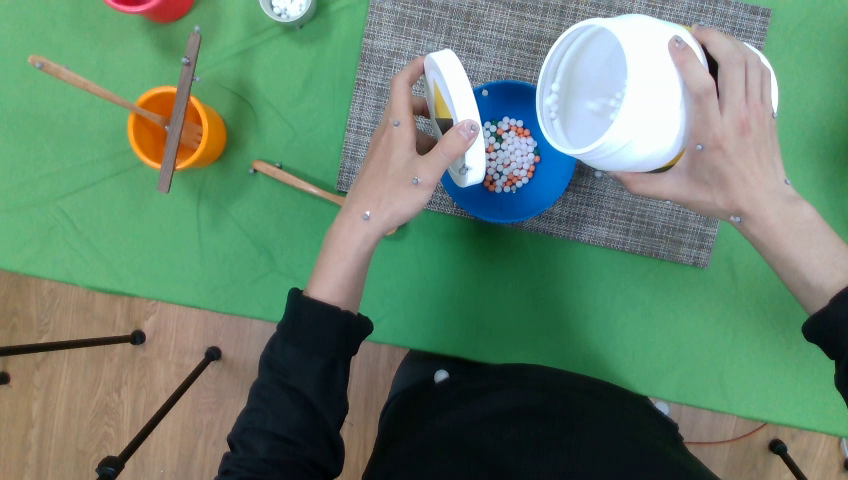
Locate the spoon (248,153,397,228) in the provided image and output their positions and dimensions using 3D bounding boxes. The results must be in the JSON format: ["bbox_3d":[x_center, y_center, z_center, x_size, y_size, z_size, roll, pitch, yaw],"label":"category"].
[{"bbox_3d":[-0.121,-0.064,0.720,0.194,0.021,0.042,23,110,0],"label":"spoon"}]

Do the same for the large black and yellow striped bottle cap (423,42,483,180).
[{"bbox_3d":[0.023,-0.108,0.514,0.019,0.114,0.115,-16,94,-8],"label":"large black and yellow striped bottle cap"}]

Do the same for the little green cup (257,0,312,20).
[{"bbox_3d":[-0.157,-0.282,0.690,0.061,0.038,0.061,0,96,4],"label":"little green cup"}]

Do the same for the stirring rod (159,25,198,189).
[{"bbox_3d":[-0.265,-0.142,0.653,0.014,0.006,0.176,13,97,3],"label":"stirring rod"}]

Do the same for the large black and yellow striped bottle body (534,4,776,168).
[{"bbox_3d":[0.202,-0.133,0.540,0.185,0.130,0.131,-2,96,-31],"label":"large black and yellow striped bottle body"}]

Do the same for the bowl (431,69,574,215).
[{"bbox_3d":[0.085,-0.105,0.674,0.151,0.076,0.151,0,96,3],"label":"bowl"}]

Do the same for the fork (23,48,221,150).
[{"bbox_3d":[-0.318,-0.150,0.657,0.209,0.018,0.028,25,101,-43],"label":"fork"}]
